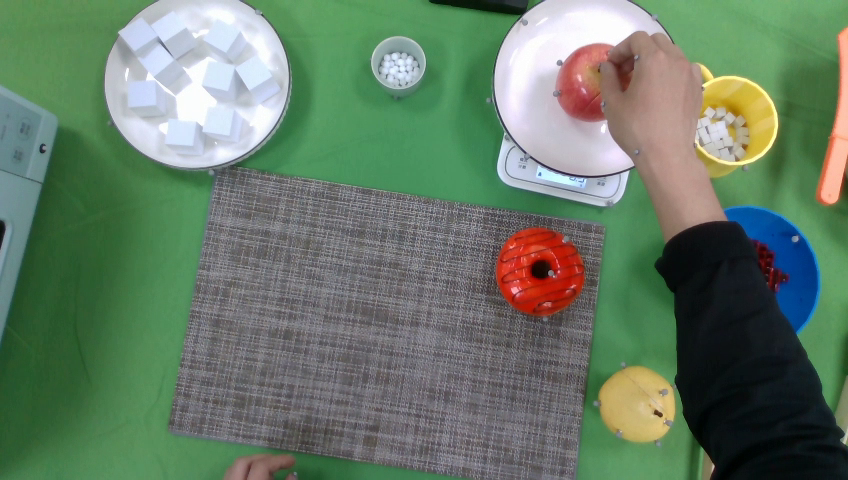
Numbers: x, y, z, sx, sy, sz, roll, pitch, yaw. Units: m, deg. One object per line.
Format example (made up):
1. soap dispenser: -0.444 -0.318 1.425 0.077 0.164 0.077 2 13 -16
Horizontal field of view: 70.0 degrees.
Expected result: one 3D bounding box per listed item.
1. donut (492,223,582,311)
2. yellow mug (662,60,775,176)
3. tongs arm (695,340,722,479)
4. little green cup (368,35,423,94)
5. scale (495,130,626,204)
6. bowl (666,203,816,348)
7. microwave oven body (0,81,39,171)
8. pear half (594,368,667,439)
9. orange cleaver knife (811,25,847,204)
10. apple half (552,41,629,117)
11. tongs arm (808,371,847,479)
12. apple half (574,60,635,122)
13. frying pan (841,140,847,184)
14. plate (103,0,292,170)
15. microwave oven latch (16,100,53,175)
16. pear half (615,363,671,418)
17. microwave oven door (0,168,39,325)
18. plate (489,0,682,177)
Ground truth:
1. donut: 0.124 0.030 0.669 0.099 0.048 0.099 0 84 2
2. yellow mug: 0.320 -0.142 0.681 0.100 0.064 0.130 -24 85 -2
3. tongs arm: 0.315 0.300 0.654 0.051 0.026 0.384 9 85 -4
4. little green cup: -0.031 -0.198 0.695 0.061 0.039 0.061 0 84 0
5. scale: 0.171 -0.151 0.697 0.149 0.031 0.200 13 85 1
6. bowl: 0.327 0.039 0.658 0.151 0.077 0.151 0 85 0
7. microwave oven body: -0.612 0.020 0.549 0.326 0.260 0.440 11 85 0
8. pear half: 0.213 0.177 0.627 0.076 0.110 0.056 41 85 8
9. orange cleaver knife: 0.462 -0.136 0.645 0.077 0.012 0.211 14 85 3
10. apple half: 0.166 -0.175 0.638 0.081 0.075 0.053 -45 87 1
11. tongs arm: 0.398 0.322 0.658 0.028 0.028 0.387 24 85 -6
12. apple half: 0.195 -0.148 0.638 0.033 0.081 0.081 45 85 4
13. frying pan: 0.630 -0.027 0.656 0.307 0.103 0.485 -18 77 -1
14. plate: -0.252 -0.179 0.690 0.208 0.039 0.207 0 84 -1
15. microwave oven latch: -0.432 -0.113 0.662 0.030 0.029 0.079 14 85 0
16. pear half: 0.237 0.153 0.639 0.070 0.088 0.031 40 86 7
17. microwave oven door: -0.477 0.089 0.539 0.039 0.244 0.355 11 84 1
18. plate: 0.174 -0.169 0.665 0.209 0.038 0.208 0 84 -1
